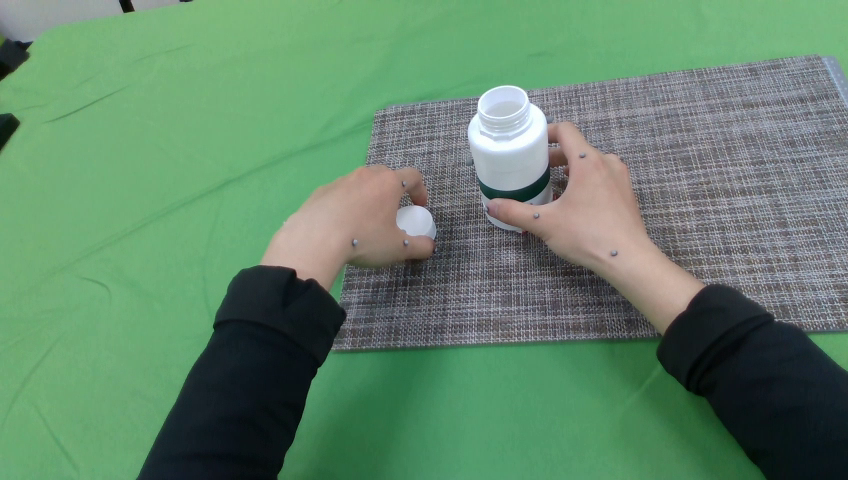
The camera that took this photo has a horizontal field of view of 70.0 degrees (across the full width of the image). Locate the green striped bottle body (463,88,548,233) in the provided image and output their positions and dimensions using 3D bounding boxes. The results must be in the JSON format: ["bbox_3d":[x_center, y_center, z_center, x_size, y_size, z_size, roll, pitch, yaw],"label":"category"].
[{"bbox_3d":[0.068,-0.066,0.502,0.063,0.120,0.062,-8,50,9],"label":"green striped bottle body"}]

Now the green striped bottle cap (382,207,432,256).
[{"bbox_3d":[-0.015,-0.008,0.549,0.044,0.020,0.044,-4,51,6],"label":"green striped bottle cap"}]
